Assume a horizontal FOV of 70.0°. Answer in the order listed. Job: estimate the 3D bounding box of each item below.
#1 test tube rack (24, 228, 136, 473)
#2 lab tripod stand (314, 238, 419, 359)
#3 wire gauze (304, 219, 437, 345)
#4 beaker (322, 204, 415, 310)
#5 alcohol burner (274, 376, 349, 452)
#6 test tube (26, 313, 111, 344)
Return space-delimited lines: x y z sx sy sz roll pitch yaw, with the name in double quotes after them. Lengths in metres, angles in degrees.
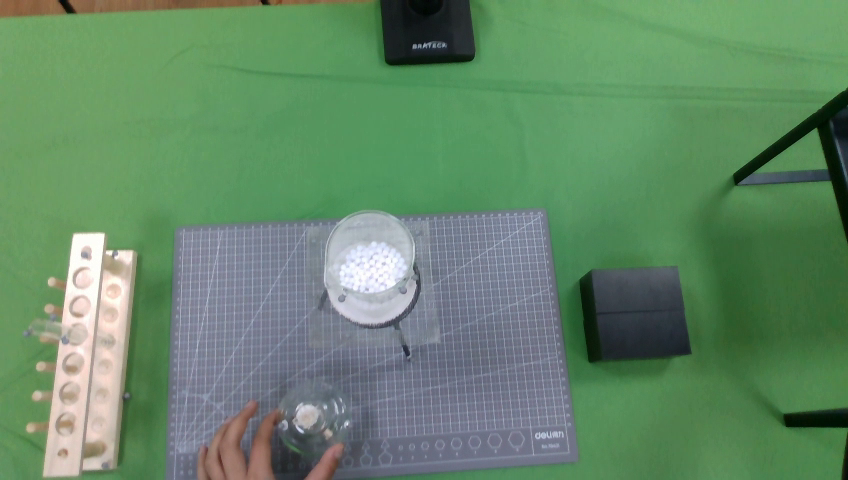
-0.367 0.115 0.642 0.067 0.085 0.241 -1 75 -3 "test tube rack"
-0.052 0.054 0.648 0.148 0.132 0.147 1 73 -2 "lab tripod stand"
-0.052 0.040 0.583 0.125 0.011 0.121 -1 75 -6 "wire gauze"
-0.050 0.022 0.538 0.084 0.100 0.073 -36 79 -12 "beaker"
-0.117 0.178 0.621 0.078 0.119 0.077 1 74 -4 "alcohol burner"
-0.346 0.090 0.599 0.017 0.150 0.017 1 75 -5 "test tube"
